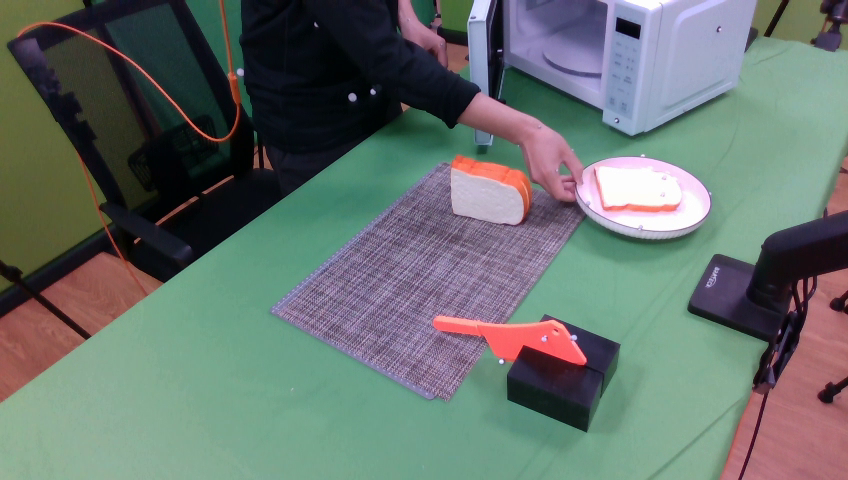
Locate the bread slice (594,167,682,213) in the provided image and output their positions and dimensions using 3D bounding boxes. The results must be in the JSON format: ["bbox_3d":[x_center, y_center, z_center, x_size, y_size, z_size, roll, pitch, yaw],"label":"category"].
[{"bbox_3d":[0.351,-0.083,0.993,0.134,0.018,0.106,1,43,-1],"label":"bread slice"}]

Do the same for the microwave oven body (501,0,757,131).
[{"bbox_3d":[0.396,-0.448,1.248,0.327,0.261,0.437,-27,44,-21],"label":"microwave oven body"}]

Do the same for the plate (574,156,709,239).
[{"bbox_3d":[0.346,-0.066,0.976,0.208,0.039,0.206,0,40,1],"label":"plate"}]

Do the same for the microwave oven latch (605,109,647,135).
[{"bbox_3d":[0.379,-0.225,1.139,0.030,0.029,0.078,-26,43,-19],"label":"microwave oven latch"}]

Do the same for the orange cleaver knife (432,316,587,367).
[{"bbox_3d":[0.101,0.127,0.761,0.210,0.077,0.012,-1,34,40],"label":"orange cleaver knife"}]

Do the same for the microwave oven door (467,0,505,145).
[{"bbox_3d":[0.129,-0.388,1.208,0.039,0.245,0.355,2,42,11],"label":"microwave oven door"}]
